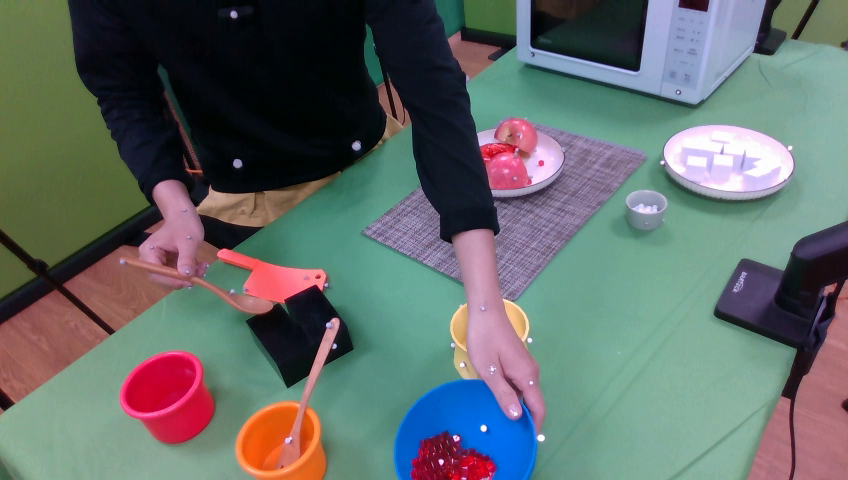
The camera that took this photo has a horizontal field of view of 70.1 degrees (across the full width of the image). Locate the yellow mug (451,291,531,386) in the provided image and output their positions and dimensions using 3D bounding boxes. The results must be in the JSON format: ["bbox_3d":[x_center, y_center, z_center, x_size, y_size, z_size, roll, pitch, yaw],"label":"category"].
[{"bbox_3d":[0.086,0.120,0.786,0.100,0.064,0.130,-8,40,1],"label":"yellow mug"}]

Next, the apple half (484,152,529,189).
[{"bbox_3d":[0.144,-0.116,1.032,0.081,0.033,0.081,2,77,-10],"label":"apple half"}]

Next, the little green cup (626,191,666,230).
[{"bbox_3d":[0.352,-0.046,0.963,0.061,0.039,0.061,-4,40,4],"label":"little green cup"}]

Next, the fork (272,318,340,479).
[{"bbox_3d":[-0.132,0.186,0.676,0.028,0.019,0.207,17,90,28],"label":"fork"}]

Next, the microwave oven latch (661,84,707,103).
[{"bbox_3d":[0.517,-0.296,1.204,0.078,0.029,0.030,26,51,34],"label":"microwave oven latch"}]

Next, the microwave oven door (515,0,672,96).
[{"bbox_3d":[0.343,-0.454,1.259,0.353,0.245,0.039,26,51,33],"label":"microwave oven door"}]

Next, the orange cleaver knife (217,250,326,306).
[{"bbox_3d":[-0.248,0.058,0.945,0.210,0.012,0.077,12,48,20],"label":"orange cleaver knife"}]

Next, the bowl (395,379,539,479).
[{"bbox_3d":[0.052,0.233,0.642,0.151,0.077,0.150,-11,40,10],"label":"bowl"}]

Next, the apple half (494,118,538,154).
[{"bbox_3d":[0.176,-0.196,1.113,0.080,0.053,0.075,28,11,34],"label":"apple half"}]

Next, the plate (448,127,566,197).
[{"bbox_3d":[0.150,-0.138,1.096,0.209,0.038,0.208,-4,40,4],"label":"plate"}]

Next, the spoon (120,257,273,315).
[{"bbox_3d":[-0.284,0.057,0.768,0.021,0.195,0.041,-53,30,15],"label":"spoon"}]

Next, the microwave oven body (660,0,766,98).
[{"bbox_3d":[0.473,-0.513,1.317,0.438,0.261,0.327,26,51,34],"label":"microwave oven body"}]

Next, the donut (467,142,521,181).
[{"bbox_3d":[0.126,-0.144,1.090,0.099,0.048,0.098,-6,36,5],"label":"donut"}]

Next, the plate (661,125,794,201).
[{"bbox_3d":[0.514,-0.128,1.035,0.207,0.039,0.206,-4,41,4],"label":"plate"}]
